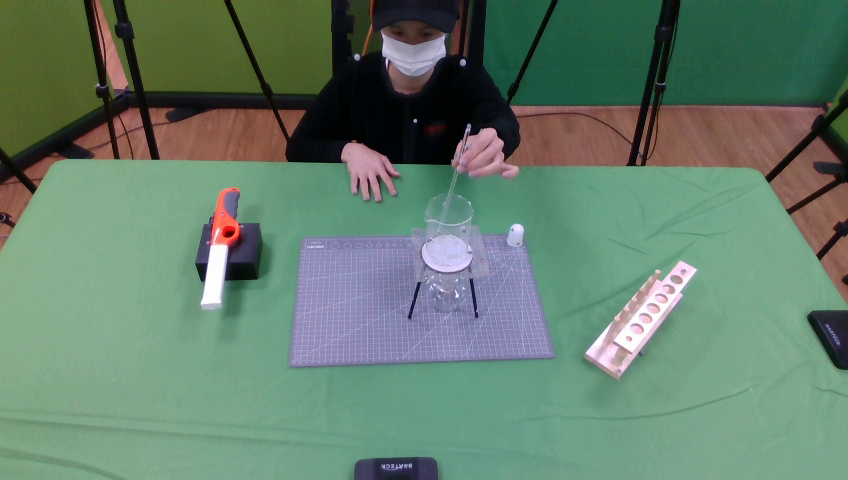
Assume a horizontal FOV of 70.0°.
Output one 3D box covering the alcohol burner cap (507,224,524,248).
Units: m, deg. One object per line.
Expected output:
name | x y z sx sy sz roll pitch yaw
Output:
alcohol burner cap | 0.183 -0.010 1.206 0.034 0.048 0.033 0 45 0

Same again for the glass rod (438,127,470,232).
glass rod | 0.044 -0.084 0.909 0.008 0.200 0.008 8 43 -7

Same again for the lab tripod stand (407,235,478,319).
lab tripod stand | 0.032 0.065 1.057 0.148 0.132 0.147 1 45 -1

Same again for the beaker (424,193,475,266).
beaker | 0.036 -0.013 0.974 0.084 0.101 0.073 -18 48 -20

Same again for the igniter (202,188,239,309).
igniter | -0.367 0.006 1.095 0.057 0.025 0.274 -2 50 -7

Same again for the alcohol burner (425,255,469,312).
alcohol burner | 0.041 0.072 1.065 0.078 0.120 0.077 1 46 -1

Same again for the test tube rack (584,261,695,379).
test tube rack | 0.380 0.127 1.062 0.066 0.085 0.242 34 53 26

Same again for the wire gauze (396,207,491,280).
wire gauze | 0.032 0.006 1.001 0.125 0.011 0.120 -20 52 -16
